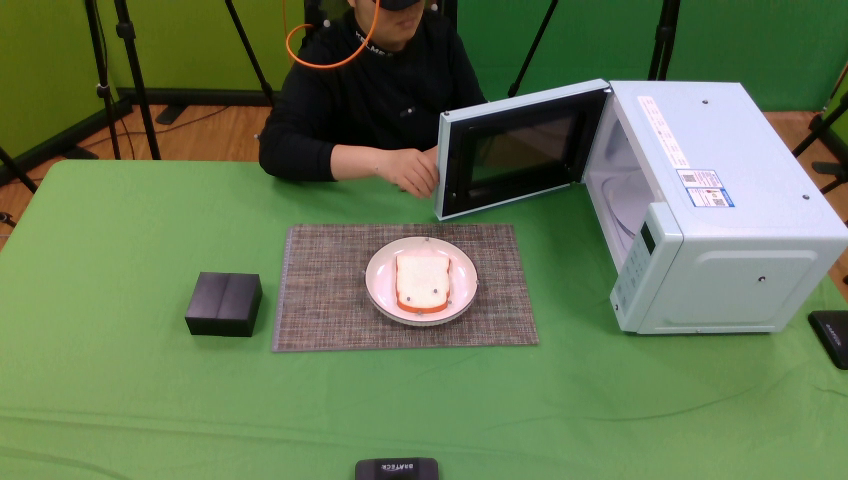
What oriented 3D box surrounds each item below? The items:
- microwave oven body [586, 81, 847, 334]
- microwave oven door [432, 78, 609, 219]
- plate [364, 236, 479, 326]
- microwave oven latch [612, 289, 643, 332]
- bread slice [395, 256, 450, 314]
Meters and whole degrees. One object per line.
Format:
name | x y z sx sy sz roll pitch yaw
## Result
microwave oven body | 0.501 -0.070 1.132 0.326 0.261 0.438 -1 45 -3
microwave oven door | 0.190 -0.182 1.211 0.356 0.245 0.039 -16 49 -18
plate | -0.004 0.078 1.107 0.209 0.038 0.208 2 46 -2
microwave oven latch | 0.357 0.124 1.068 0.030 0.029 0.078 0 45 -3
bread slice | -0.001 0.079 1.109 0.105 0.019 0.130 1 45 -2
